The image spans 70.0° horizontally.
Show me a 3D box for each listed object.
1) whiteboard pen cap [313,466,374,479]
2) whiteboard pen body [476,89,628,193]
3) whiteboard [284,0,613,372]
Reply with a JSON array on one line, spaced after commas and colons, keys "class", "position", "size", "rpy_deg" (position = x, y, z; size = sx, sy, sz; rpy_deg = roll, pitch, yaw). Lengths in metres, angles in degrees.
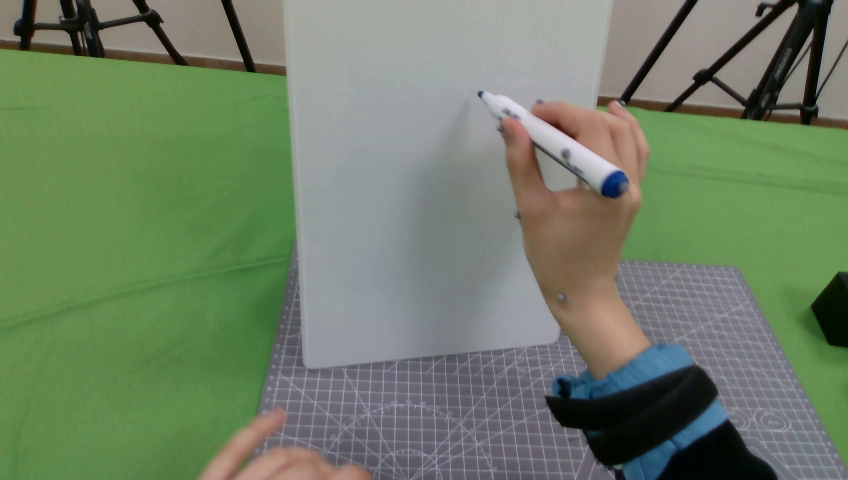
[{"class": "whiteboard pen cap", "position": [-0.045, 0.138, 0.337], "size": [0.032, 0.017, 0.017], "rpy_deg": [9, 43, 11]}, {"class": "whiteboard pen body", "position": [0.067, -0.064, 0.355], "size": [0.017, 0.017, 0.139], "rpy_deg": [-15, 38, -23]}, {"class": "whiteboard", "position": [0.004, -0.070, 0.492], "size": [0.218, 0.307, 0.142], "rpy_deg": [-3, 25, -12]}]
